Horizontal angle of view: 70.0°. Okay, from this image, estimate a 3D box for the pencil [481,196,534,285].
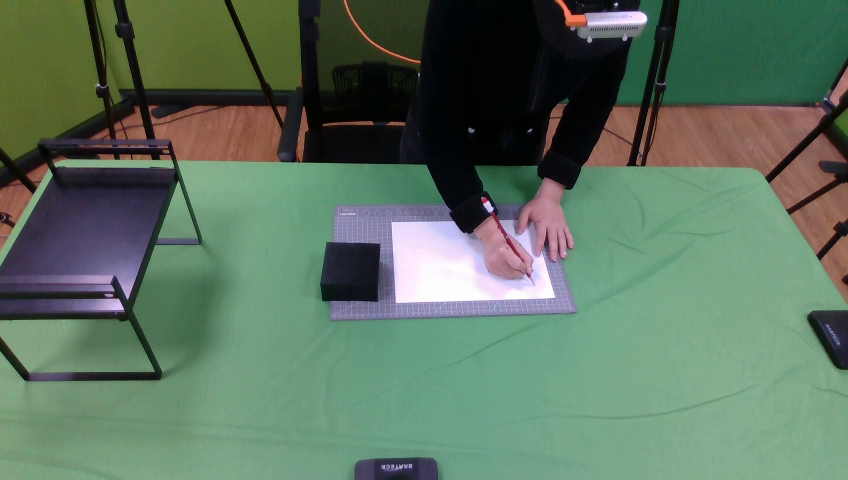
[{"bbox_3d":[0.157,0.003,1.123,0.012,0.012,0.194,-39,103,-33],"label":"pencil"}]
